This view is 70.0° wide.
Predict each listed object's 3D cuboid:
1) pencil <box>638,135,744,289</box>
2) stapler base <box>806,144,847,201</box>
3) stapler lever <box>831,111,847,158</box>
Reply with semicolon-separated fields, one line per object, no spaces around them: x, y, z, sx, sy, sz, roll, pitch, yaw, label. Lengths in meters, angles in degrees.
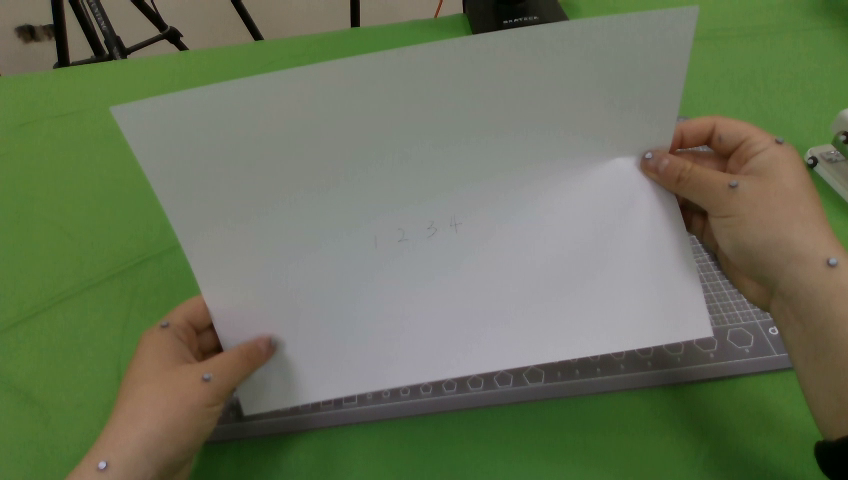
0.225;-0.031;0.518;0.012;0.012;0.192;-10;46;-2;pencil
0.376;-0.046;0.507;0.041;0.025;0.129;-13;46;-1;stapler base
0.374;-0.063;0.488;0.027;0.040;0.116;-13;46;-1;stapler lever
